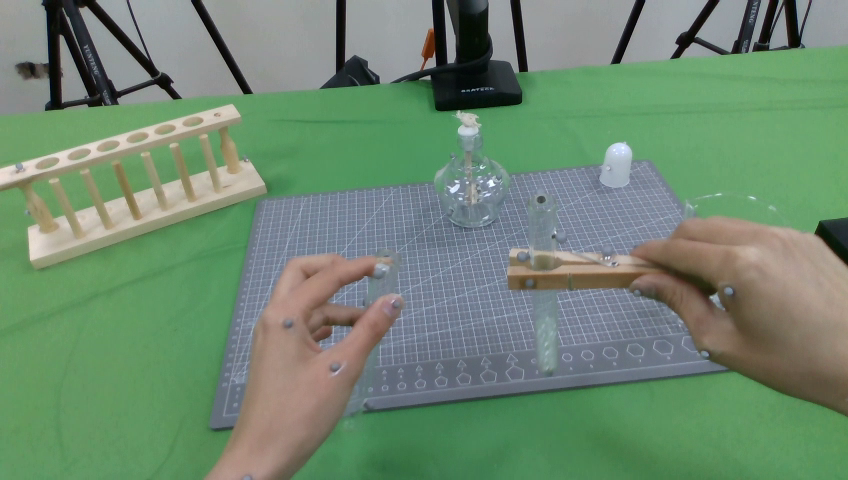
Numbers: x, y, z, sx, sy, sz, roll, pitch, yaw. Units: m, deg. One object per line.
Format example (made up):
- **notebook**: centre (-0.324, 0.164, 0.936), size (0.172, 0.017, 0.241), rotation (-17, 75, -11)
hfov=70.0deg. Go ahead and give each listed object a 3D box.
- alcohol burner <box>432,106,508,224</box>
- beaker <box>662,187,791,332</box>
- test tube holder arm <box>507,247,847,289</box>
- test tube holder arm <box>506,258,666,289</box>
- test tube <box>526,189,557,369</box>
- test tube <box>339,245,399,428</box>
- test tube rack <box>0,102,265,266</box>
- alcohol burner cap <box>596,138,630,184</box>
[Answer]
- **alcohol burner**: centre (0.045, -0.076, 0.603), size (0.078, 0.120, 0.077), rotation (-4, 39, 3)
- **beaker**: centre (0.234, 0.017, 0.487), size (0.074, 0.101, 0.083), rotation (-26, 44, -23)
- **test tube holder arm**: centre (0.135, 0.015, 0.338), size (0.178, 0.015, 0.013), rotation (2, 50, 18)
- **test tube holder arm**: centre (0.091, 0.019, 0.347), size (0.087, 0.015, 0.010), rotation (-4, 48, 13)
- **test tube**: centre (0.073, 0.031, 0.370), size (0.017, 0.152, 0.017), rotation (-6, 42, 6)
- **test tube**: centre (-0.037, 0.068, 0.388), size (0.017, 0.151, 0.017), rotation (11, 32, -6)
- **test tube rack**: centre (-0.305, -0.065, 0.646), size (0.243, 0.086, 0.066), rotation (-22, 43, -20)
- **alcohol burner cap**: centre (0.207, -0.088, 0.658), size (0.034, 0.048, 0.033), rotation (-2, 40, 2)
